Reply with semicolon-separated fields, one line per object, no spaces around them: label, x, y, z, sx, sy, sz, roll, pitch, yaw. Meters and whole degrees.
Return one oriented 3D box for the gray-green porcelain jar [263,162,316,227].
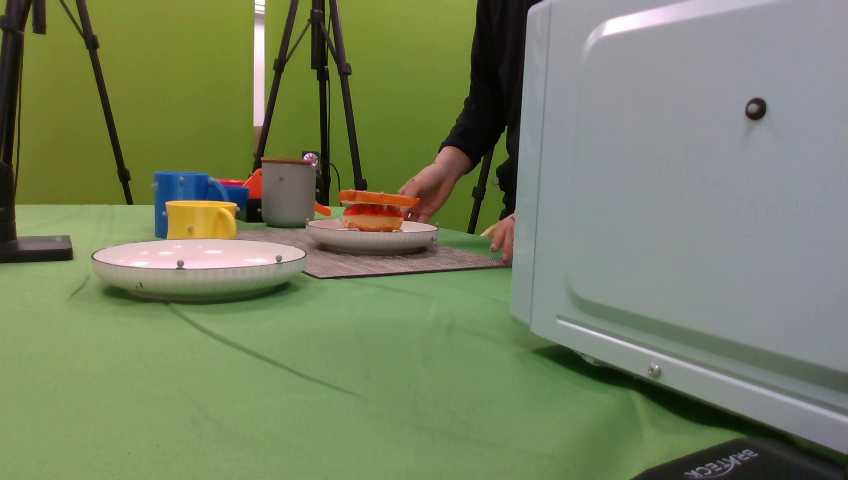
gray-green porcelain jar;-0.271;-0.092;1.217;0.106;0.126;0.106;2;7;0

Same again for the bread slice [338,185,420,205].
bread slice;-0.080;-0.069;0.938;0.107;0.018;0.134;6;0;-22

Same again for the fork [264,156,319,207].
fork;-0.331;-0.144;1.505;0.207;0.018;0.028;-42;-20;22

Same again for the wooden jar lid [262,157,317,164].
wooden jar lid;-0.269;-0.154;1.208;0.108;0.020;0.108;3;4;0

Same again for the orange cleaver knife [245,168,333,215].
orange cleaver knife;-0.300;-0.089;1.351;0.212;0.077;0.012;28;-9;-34

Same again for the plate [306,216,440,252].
plate;-0.080;-0.011;0.949;0.209;0.038;0.209;2;7;0

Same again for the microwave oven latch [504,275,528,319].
microwave oven latch;0.100;0.041;0.471;0.079;0.029;0.030;-1;7;-28

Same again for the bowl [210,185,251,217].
bowl;-0.408;-0.064;1.154;0.151;0.077;0.151;2;8;0

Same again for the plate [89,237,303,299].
plate;-0.233;0.029;0.636;0.208;0.039;0.207;2;7;0

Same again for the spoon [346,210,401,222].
spoon;-0.121;-0.059;1.400;0.042;0.021;0.192;-26;24;-38

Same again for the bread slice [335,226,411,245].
bread slice;-0.075;-0.009;0.937;0.105;0.019;0.131;-1;8;-20

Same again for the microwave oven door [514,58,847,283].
microwave oven door;0.290;-0.088;0.732;0.354;0.243;0.039;5;8;26

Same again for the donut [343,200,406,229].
donut;-0.078;-0.038;0.946;0.099;0.048;0.099;1;8;0

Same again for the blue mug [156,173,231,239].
blue mug;-0.381;-0.057;1.004;0.117;0.106;0.082;1;8;-12

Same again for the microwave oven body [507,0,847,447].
microwave oven body;0.331;-0.042;0.425;0.444;0.260;0.324;-2;8;-31

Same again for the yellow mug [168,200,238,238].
yellow mug;-0.320;-0.023;0.904;0.130;0.064;0.100;9;10;36
